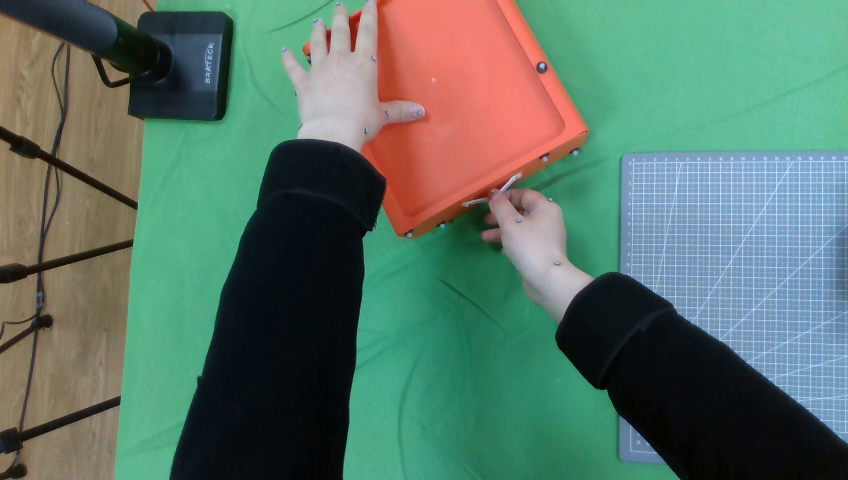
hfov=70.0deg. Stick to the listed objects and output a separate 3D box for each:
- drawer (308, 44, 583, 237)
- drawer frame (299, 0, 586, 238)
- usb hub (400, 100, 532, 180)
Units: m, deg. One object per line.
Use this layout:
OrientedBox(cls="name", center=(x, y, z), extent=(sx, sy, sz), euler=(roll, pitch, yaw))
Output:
OrientedBox(cls="drawer", center=(0.019, -0.138, 0.598), extent=(0.194, 0.073, 0.211), euler=(-29, 82, 9))
OrientedBox(cls="drawer frame", center=(0.017, -0.139, 0.595), extent=(0.201, 0.083, 0.213), euler=(-29, 82, 8))
OrientedBox(cls="usb hub", center=(0.041, -0.100, 0.607), extent=(0.125, 0.025, 0.049), euler=(-13, 86, 15))
